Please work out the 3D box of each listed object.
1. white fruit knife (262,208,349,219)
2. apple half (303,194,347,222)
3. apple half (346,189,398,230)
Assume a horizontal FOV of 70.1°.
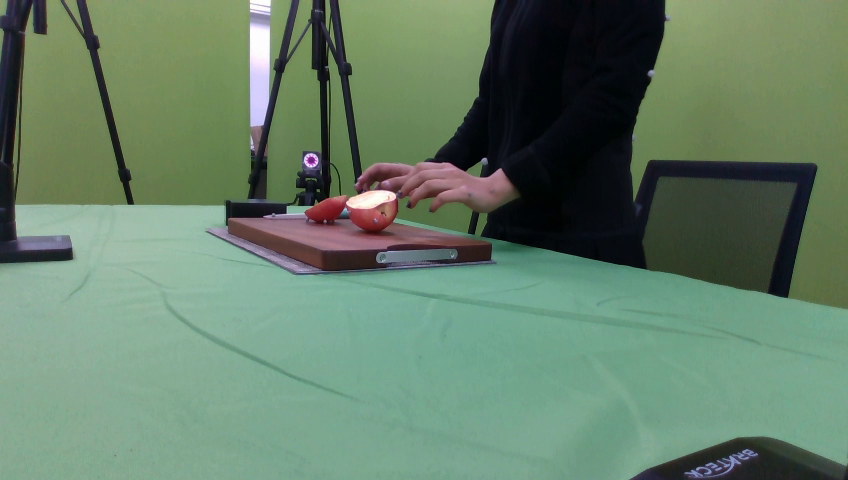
[{"bbox_3d":[-0.198,-0.047,1.113,0.208,0.016,0.027,-5,-19,-35],"label":"white fruit knife"},{"bbox_3d":[-0.166,-0.051,1.051,0.081,0.033,0.081,-21,-3,-1],"label":"apple half"},{"bbox_3d":[-0.081,-0.044,0.954,0.081,0.053,0.074,-27,31,-35],"label":"apple half"}]
